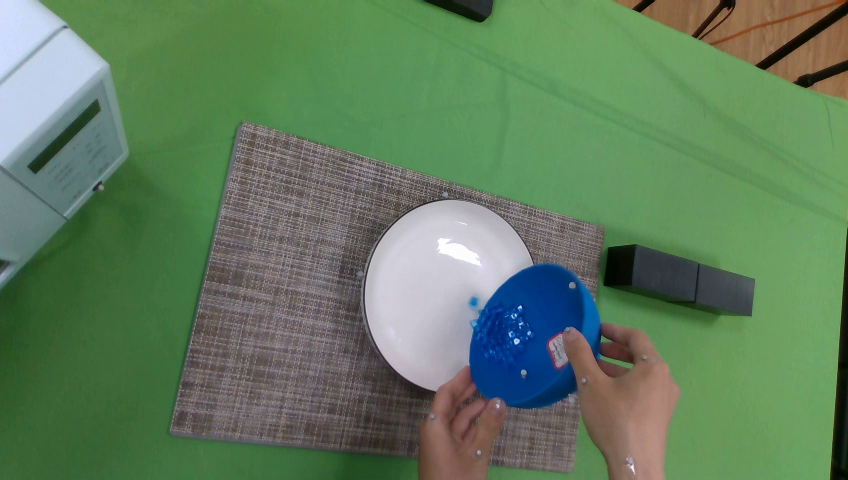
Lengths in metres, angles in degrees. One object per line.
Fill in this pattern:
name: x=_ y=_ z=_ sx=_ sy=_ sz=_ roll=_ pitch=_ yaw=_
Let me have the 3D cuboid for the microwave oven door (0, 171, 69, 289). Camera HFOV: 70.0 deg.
microwave oven door: x=-0.371 y=0.096 z=0.354 sx=0.039 sy=0.243 sz=0.355 roll=41 pitch=72 yaw=-14

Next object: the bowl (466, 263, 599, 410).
bowl: x=0.122 y=0.107 z=0.611 sx=0.077 sy=0.150 sz=0.151 roll=33 pitch=74 yaw=-28

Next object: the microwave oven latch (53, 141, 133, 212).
microwave oven latch: x=-0.284 y=-0.061 z=0.514 sx=0.030 sy=0.029 sz=0.079 roll=44 pitch=72 yaw=-15

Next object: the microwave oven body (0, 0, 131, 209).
microwave oven body: x=-0.455 y=-0.030 z=0.332 sx=0.328 sy=0.259 sz=0.440 roll=42 pitch=72 yaw=-16

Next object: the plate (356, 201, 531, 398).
plate: x=0.024 y=0.063 z=0.653 sx=0.209 sy=0.039 sz=0.207 roll=2 pitch=85 yaw=-23
